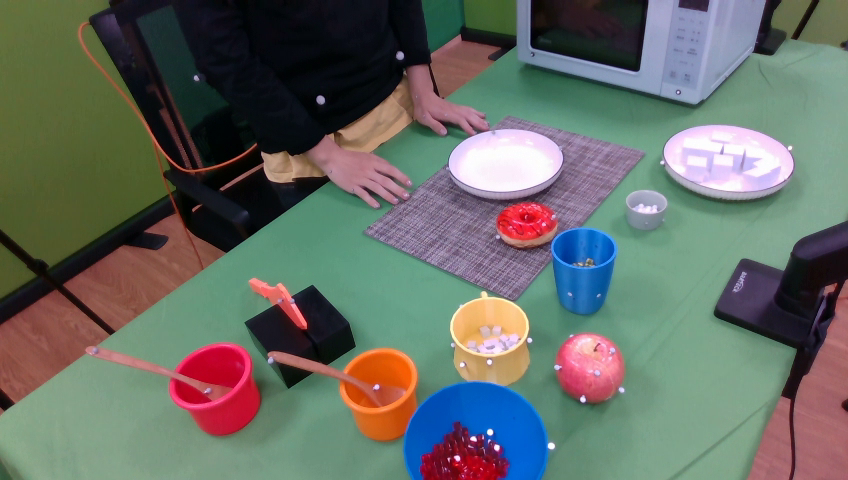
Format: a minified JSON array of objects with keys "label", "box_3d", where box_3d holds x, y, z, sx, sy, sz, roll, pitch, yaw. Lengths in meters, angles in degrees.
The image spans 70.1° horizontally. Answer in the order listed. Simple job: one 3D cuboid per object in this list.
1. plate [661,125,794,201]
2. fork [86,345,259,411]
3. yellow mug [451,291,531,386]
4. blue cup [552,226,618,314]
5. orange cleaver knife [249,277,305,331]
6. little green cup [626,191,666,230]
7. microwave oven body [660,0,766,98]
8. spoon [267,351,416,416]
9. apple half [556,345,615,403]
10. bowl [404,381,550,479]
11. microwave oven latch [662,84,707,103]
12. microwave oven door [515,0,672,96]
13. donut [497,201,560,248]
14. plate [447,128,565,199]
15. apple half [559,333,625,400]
[{"label":"plate","box_3d":[0.513,-0.128,1.035,0.207,0.039,0.206,-4,40,4]},{"label":"fork","box_3d":[-0.298,0.166,0.728,0.209,0.018,0.028,28,48,-23]},{"label":"yellow mug","box_3d":[0.085,0.120,0.786,0.100,0.064,0.130,-6,39,1]},{"label":"blue cup","box_3d":[0.218,0.047,0.826,0.092,0.101,0.092,-6,40,5]},{"label":"orange cleaver knife","box_3d":[-0.210,0.088,0.855,0.012,0.077,0.210,-28,15,-25]},{"label":"little green cup","box_3d":[0.352,-0.046,0.963,0.061,0.039,0.061,-4,40,4]},{"label":"microwave oven body","box_3d":[0.472,-0.513,1.317,0.438,0.261,0.327,26,51,34]},{"label":"spoon","box_3d":[-0.090,0.162,0.699,0.021,0.195,0.041,-44,30,27]},{"label":"apple half","box_3d":[0.181,0.167,0.709,0.080,0.081,0.033,29,49,35]},{"label":"bowl","box_3d":[0.058,0.235,0.645,0.151,0.077,0.150,-4,39,4]},{"label":"microwave oven latch","box_3d":[0.517,-0.296,1.204,0.078,0.029,0.030,27,52,35]},{"label":"microwave oven door","box_3d":[0.343,-0.455,1.259,0.353,0.245,0.039,26,51,33]},{"label":"donut","box_3d":[0.165,-0.026,0.958,0.099,0.048,0.098,-5,38,5]},{"label":"plate","box_3d":[0.147,-0.134,1.092,0.209,0.038,0.208,-4,40,4]},{"label":"apple half","box_3d":[0.209,0.147,0.730,0.080,0.075,0.053,26,48,38]}]
